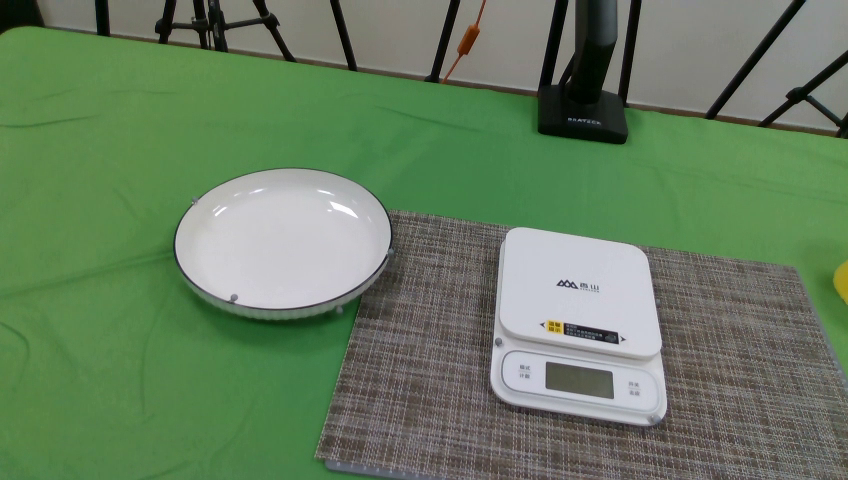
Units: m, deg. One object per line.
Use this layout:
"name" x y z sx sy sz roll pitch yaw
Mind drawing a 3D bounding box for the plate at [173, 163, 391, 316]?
"plate" -0.138 -0.002 0.606 0.209 0.038 0.207 3 44 -3

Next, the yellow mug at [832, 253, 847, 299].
"yellow mug" 0.498 0.040 0.613 0.100 0.064 0.129 -25 52 -28

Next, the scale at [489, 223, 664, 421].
"scale" 0.140 0.066 0.564 0.148 0.032 0.199 9 44 3
